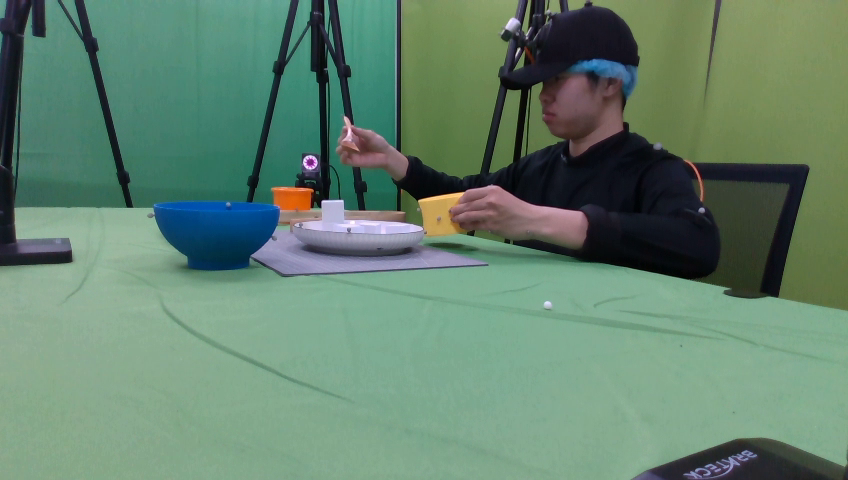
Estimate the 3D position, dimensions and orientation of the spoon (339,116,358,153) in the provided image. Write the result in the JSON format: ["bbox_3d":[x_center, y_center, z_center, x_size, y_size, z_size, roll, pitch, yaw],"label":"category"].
[{"bbox_3d":[-0.161,-0.227,1.278,0.042,0.021,0.193,19,29,-20],"label":"spoon"}]

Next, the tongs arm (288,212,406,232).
[{"bbox_3d":[-0.146,-0.040,1.280,0.028,0.028,0.389,3,5,33],"label":"tongs arm"}]

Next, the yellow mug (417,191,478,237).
[{"bbox_3d":[0.049,-0.047,1.049,0.100,0.064,0.130,-13,8,-29],"label":"yellow mug"}]

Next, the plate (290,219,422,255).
[{"bbox_3d":[-0.108,-0.005,0.963,0.208,0.039,0.207,3,7,0],"label":"plate"}]

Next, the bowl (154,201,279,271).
[{"bbox_3d":[-0.263,-0.005,0.773,0.151,0.077,0.151,3,8,0],"label":"bowl"}]

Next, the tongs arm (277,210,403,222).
[{"bbox_3d":[-0.206,-0.052,1.332,0.387,0.026,0.050,-2,8,-44],"label":"tongs arm"}]
